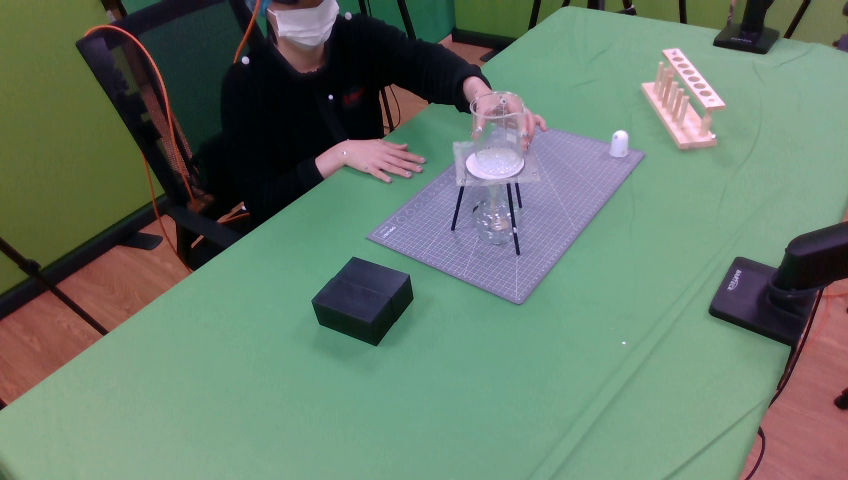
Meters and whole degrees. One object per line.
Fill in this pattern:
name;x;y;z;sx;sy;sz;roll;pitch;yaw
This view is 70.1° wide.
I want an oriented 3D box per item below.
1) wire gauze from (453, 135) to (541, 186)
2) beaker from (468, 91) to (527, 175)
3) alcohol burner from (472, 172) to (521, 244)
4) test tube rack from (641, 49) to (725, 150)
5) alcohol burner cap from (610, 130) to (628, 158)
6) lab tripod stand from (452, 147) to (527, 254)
wire gauze;0.106;-0.118;0.903;0.125;0.011;0.121;-7;39;7
beaker;0.108;-0.151;0.865;0.083;0.101;0.074;15;46;26
alcohol burner;0.112;-0.053;0.942;0.078;0.119;0.077;-6;40;5
test tube rack;0.495;-0.279;1.175;0.067;0.085;0.241;-5;41;3
alcohol burner cap;0.359;-0.177;1.106;0.034;0.048;0.033;-5;41;5
lab tripod stand;0.111;-0.066;0.943;0.148;0.132;0.147;-5;42;5
